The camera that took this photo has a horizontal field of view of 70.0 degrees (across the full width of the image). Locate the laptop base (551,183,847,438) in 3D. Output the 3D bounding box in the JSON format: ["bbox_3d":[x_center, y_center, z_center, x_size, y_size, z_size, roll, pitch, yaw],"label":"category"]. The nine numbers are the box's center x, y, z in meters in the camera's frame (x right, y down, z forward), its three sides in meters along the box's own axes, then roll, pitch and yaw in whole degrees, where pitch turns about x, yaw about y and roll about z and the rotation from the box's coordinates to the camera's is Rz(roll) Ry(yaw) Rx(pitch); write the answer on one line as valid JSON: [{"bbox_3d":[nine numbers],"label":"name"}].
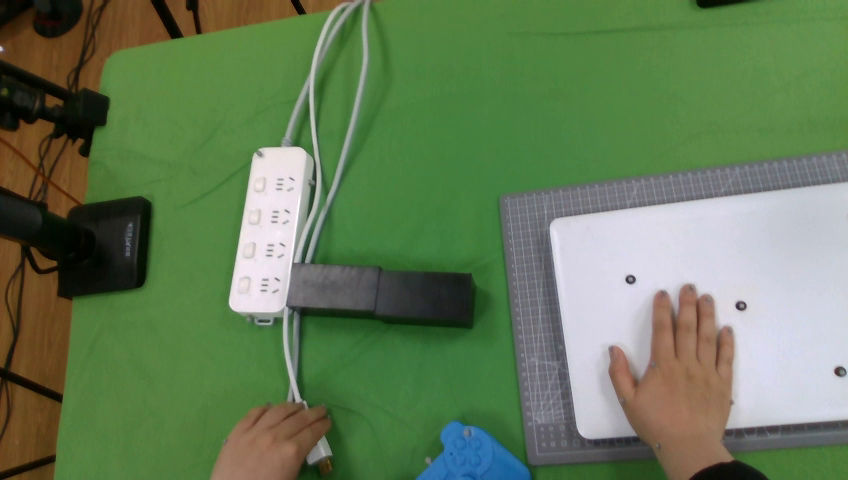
[{"bbox_3d":[0.319,0.068,0.617,0.354,0.023,0.234,-7,75,8],"label":"laptop base"}]

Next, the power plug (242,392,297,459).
[{"bbox_3d":[-0.167,0.205,0.662,0.052,0.035,0.072,-11,28,32],"label":"power plug"}]

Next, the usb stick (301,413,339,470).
[{"bbox_3d":[-0.109,0.216,0.646,0.021,0.027,0.058,-34,62,10],"label":"usb stick"}]

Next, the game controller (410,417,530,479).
[{"bbox_3d":[0.021,0.250,0.599,0.155,0.052,0.096,-43,67,-5],"label":"game controller"}]

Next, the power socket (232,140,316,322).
[{"bbox_3d":[-0.178,-0.017,0.727,0.072,0.033,0.225,1,72,10],"label":"power socket"}]

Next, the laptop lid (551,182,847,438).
[{"bbox_3d":[0.318,0.067,0.606,0.356,0.013,0.240,-5,74,9],"label":"laptop lid"}]
